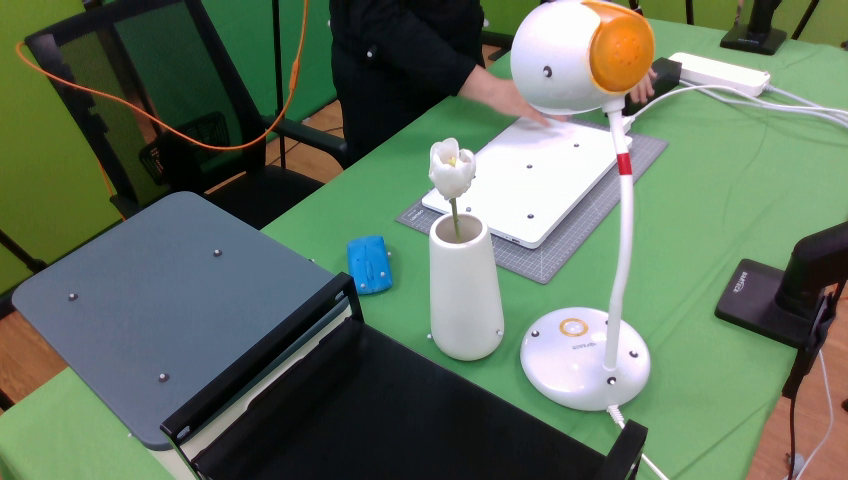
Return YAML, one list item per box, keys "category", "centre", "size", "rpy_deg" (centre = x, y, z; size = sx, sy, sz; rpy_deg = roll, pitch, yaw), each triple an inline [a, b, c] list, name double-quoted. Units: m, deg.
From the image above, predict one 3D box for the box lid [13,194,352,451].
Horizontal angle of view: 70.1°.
- category: "box lid"
  centre: [-0.291, 0.067, 0.717]
  size: [0.368, 0.015, 0.264]
  rpy_deg: [25, 50, 33]

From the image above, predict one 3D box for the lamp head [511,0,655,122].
- category: "lamp head"
  centre: [0.155, -0.168, 0.564]
  size: [0.113, 0.113, 0.122]
  rpy_deg: [-18, 23, -12]

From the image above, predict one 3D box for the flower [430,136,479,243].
- category: "flower"
  centre: [0.041, 0.011, 0.691]
  size: [0.044, 0.363, 0.038]
  rpy_deg: [15, 62, 14]

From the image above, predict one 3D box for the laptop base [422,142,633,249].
- category: "laptop base"
  centre: [0.193, -0.117, 1.087]
  size: [0.233, 0.023, 0.355]
  rpy_deg: [21, 48, 34]

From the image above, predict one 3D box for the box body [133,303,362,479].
- category: "box body"
  centre: [-0.285, 0.123, 0.766]
  size: [0.361, 0.161, 0.255]
  rpy_deg: [25, 49, 33]

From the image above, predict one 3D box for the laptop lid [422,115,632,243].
- category: "laptop lid"
  centre: [0.190, -0.127, 1.081]
  size: [0.239, 0.013, 0.358]
  rpy_deg: [23, 49, 35]

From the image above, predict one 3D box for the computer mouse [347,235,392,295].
- category: "computer mouse"
  centre: [-0.086, 0.035, 0.936]
  size: [0.063, 0.041, 0.116]
  rpy_deg: [-8, 44, -5]

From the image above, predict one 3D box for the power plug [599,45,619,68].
- category: "power plug"
  centre: [0.435, -0.422, 1.412]
  size: [0.053, 0.035, 0.072]
  rpy_deg: [-14, 74, -46]

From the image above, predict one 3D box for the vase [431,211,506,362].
- category: "vase"
  centre: [0.054, 0.062, 0.757]
  size: [0.098, 0.201, 0.097]
  rpy_deg: [-3, 40, 3]

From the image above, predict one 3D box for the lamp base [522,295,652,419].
- category: "lamp base"
  centre: [0.201, 0.095, 0.710]
  size: [0.161, 0.181, 0.177]
  rpy_deg: [-16, 43, -10]

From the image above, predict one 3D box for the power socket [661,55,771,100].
- category: "power socket"
  centre: [0.615, -0.348, 1.284]
  size: [0.225, 0.033, 0.072]
  rpy_deg: [30, 53, 36]

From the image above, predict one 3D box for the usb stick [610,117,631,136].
- category: "usb stick"
  centre: [0.370, -0.208, 1.148]
  size: [0.021, 0.027, 0.059]
  rpy_deg: [25, 55, 33]

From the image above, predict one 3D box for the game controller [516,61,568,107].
- category: "game controller"
  centre: [0.260, -0.352, 1.336]
  size: [0.097, 0.052, 0.154]
  rpy_deg: [-3, 41, 2]
